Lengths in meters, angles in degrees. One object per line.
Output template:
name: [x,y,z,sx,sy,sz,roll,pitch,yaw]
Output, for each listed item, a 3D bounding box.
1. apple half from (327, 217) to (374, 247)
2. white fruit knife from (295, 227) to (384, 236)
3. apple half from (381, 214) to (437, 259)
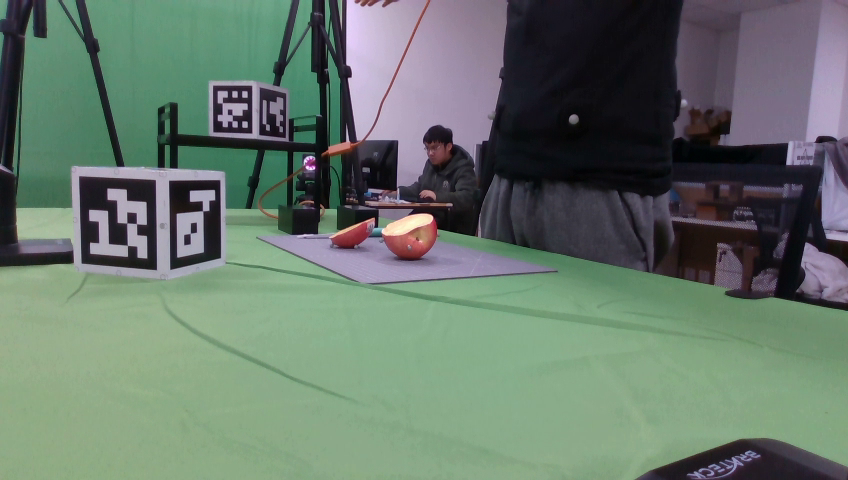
apple half: [-0.112,-0.009,0.970,0.081,0.033,0.081,-22,5,3]
white fruit knife: [-0.134,-0.014,1.104,0.208,0.016,0.027,-2,-4,-30]
apple half: [-0.020,-0.001,0.884,0.081,0.053,0.074,-25,22,-23]
